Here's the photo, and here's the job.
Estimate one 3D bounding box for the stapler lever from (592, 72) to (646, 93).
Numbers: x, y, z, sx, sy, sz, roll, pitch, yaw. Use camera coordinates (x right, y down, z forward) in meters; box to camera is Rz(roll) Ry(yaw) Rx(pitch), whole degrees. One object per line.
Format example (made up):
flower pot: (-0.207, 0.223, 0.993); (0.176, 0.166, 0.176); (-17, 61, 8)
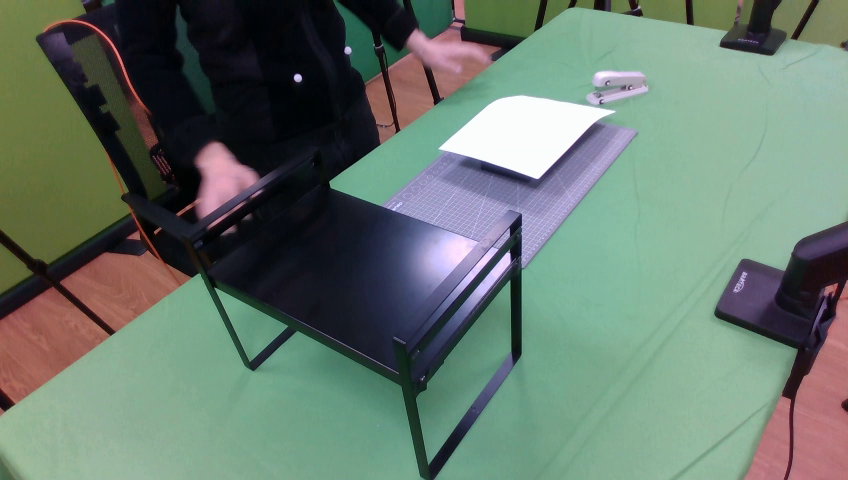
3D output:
stapler lever: (0.409, -0.337, 1.269); (0.118, 0.040, 0.026); (-15, 43, -11)

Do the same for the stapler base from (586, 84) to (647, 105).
stapler base: (0.410, -0.318, 1.285); (0.131, 0.024, 0.041); (-15, 43, -11)
